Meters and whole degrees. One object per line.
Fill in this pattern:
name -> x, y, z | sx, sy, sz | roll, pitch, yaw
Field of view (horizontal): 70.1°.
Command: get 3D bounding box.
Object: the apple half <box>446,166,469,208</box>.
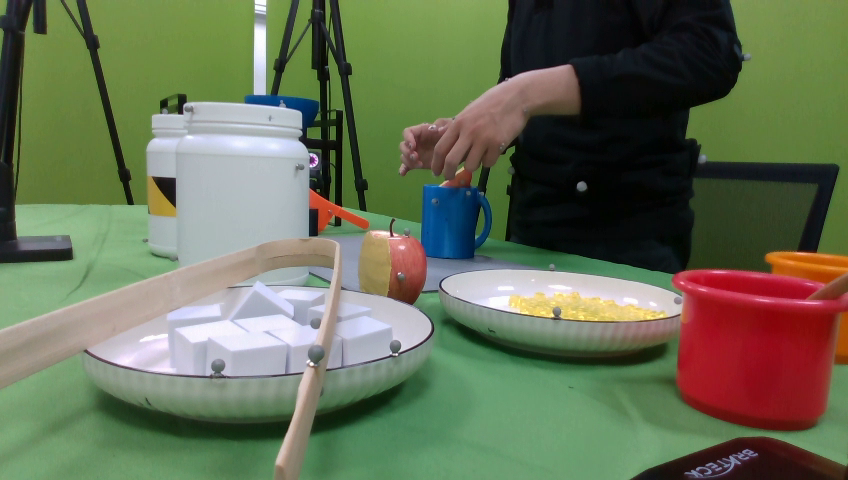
apple half -> 0.050, -0.069, 0.894 | 0.033, 0.081, 0.081 | 13, 7, -1

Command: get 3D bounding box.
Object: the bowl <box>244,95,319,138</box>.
bowl -> -0.293, -0.251, 1.249 | 0.151, 0.077, 0.151 | 2, 8, 0

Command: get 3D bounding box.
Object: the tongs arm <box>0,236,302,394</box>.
tongs arm -> -0.158, 0.038, 0.351 | 0.028, 0.028, 0.388 | -3, 8, 11

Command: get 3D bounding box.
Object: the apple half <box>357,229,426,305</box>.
apple half -> -0.026, 0.028, 0.570 | 0.053, 0.074, 0.080 | 3, 2, -28

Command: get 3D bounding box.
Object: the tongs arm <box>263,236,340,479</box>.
tongs arm -> -0.074, 0.039, 0.349 | 0.051, 0.026, 0.384 | -2, 9, -3

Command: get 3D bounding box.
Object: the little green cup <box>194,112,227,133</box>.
little green cup -> -0.412, -0.228, 1.171 | 0.061, 0.038, 0.061 | 2, 8, 0

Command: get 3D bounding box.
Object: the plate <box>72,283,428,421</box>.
plate -> -0.102, 0.066, 0.381 | 0.208, 0.039, 0.207 | 2, 7, 0

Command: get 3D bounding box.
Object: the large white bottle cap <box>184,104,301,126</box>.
large white bottle cap -> -0.184, -0.126, 0.618 | 0.115, 0.018, 0.115 | 2, 8, 0

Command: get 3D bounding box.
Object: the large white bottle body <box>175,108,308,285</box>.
large white bottle body -> -0.188, -0.042, 0.630 | 0.131, 0.184, 0.130 | 2, 8, 0

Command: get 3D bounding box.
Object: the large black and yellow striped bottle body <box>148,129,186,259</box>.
large black and yellow striped bottle body -> -0.310, -0.073, 0.838 | 0.131, 0.184, 0.130 | 2, 8, 0

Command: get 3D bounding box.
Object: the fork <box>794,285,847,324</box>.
fork -> 0.332, 0.018, 0.442 | 0.028, 0.018, 0.207 | -1, -36, -16

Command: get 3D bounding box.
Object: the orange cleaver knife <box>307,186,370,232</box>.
orange cleaver knife -> -0.197, -0.056, 1.141 | 0.212, 0.077, 0.012 | 29, 0, -34

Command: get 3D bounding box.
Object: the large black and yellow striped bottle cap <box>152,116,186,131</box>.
large black and yellow striped bottle cap -> -0.309, -0.155, 0.826 | 0.115, 0.019, 0.115 | 3, 6, 0

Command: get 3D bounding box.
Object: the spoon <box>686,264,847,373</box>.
spoon -> 0.214, 0.032, 0.328 | 0.042, 0.021, 0.193 | -3, -35, -26

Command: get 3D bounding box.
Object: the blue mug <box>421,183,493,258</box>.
blue mug -> 0.052, -0.032, 0.912 | 0.117, 0.106, 0.082 | -1, 8, -24

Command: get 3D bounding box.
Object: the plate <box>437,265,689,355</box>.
plate -> 0.114, 0.057, 0.517 | 0.209, 0.038, 0.209 | 3, 8, 0

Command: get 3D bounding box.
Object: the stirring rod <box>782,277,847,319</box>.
stirring rod -> 0.344, 0.019, 0.460 | 0.014, 0.006, 0.176 | -13, -27, -30
